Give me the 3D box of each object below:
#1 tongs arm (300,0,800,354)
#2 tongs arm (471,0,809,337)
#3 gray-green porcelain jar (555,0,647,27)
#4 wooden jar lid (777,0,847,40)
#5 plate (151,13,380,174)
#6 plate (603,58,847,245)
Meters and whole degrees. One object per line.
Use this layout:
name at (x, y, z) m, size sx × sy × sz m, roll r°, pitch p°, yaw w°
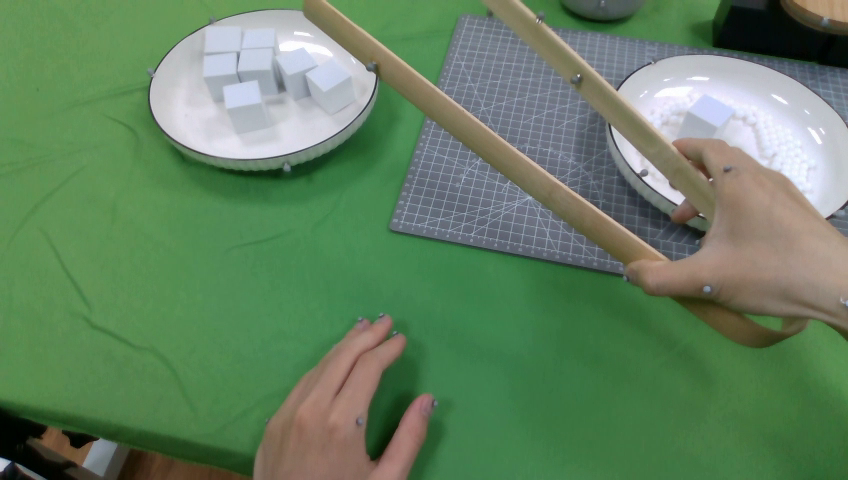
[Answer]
tongs arm at (0.068, -0.047, 0.395) m, size 0.386 × 0.028 × 0.028 m, roll 38°, pitch 55°, yaw 7°
tongs arm at (0.116, -0.087, 0.428) m, size 0.051 × 0.026 × 0.383 m, roll -36°, pitch 76°, yaw -29°
gray-green porcelain jar at (0.193, -0.300, 0.633) m, size 0.106 × 0.127 × 0.105 m, roll 0°, pitch 55°, yaw 0°
wooden jar lid at (0.396, -0.232, 0.590) m, size 0.108 × 0.021 × 0.107 m, roll 0°, pitch 56°, yaw 0°
plate at (-0.145, -0.138, 0.573) m, size 0.208 × 0.039 × 0.205 m, roll 0°, pitch 55°, yaw 0°
plate at (0.259, -0.078, 0.529) m, size 0.209 × 0.038 × 0.207 m, roll 0°, pitch 55°, yaw 0°
